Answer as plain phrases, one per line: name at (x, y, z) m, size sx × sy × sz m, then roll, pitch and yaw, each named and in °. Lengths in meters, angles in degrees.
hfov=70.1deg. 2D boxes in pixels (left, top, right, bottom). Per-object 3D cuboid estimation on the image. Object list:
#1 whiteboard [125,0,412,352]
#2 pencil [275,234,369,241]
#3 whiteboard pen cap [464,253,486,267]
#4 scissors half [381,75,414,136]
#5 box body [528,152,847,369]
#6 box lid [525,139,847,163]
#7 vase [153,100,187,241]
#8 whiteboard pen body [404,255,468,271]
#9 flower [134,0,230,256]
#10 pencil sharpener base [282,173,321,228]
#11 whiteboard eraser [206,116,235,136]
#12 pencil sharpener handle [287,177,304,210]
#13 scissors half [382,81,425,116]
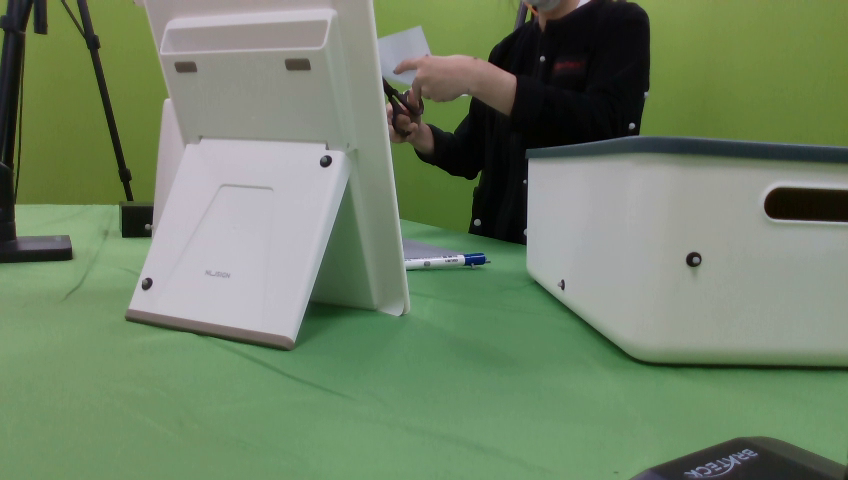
whiteboard at (-0.151, -0.049, 0.472) m, size 0.216 × 0.305 × 0.144 m, roll 6°, pitch 27°, yaw 24°
pencil at (-0.169, -0.006, 1.036) m, size 0.195 × 0.012 × 0.012 m, roll -2°, pitch 9°, yaw -45°
whiteboard pen cap at (0.066, 0.027, 0.818) m, size 0.033 × 0.018 × 0.018 m, roll -5°, pitch 10°, yaw -24°
scissors half at (-0.062, -0.249, 1.066) m, size 0.012 × 0.040 × 0.176 m, roll 20°, pitch -27°, yaw 39°
box body at (0.257, -0.005, 0.591) m, size 0.254 × 0.160 × 0.363 m, roll 2°, pitch 7°, yaw -4°
box lid at (0.261, -0.078, 0.580) m, size 0.264 × 0.015 × 0.371 m, roll 2°, pitch 7°, yaw -4°
vase at (-0.278, -0.066, 0.736) m, size 0.098 × 0.200 × 0.098 m, roll 2°, pitch 9°, yaw 0°
whiteboard pen body at (0.013, 0.030, 0.792) m, size 0.141 × 0.017 × 0.017 m, roll -3°, pitch 9°, yaw -24°
flower at (-0.282, -0.147, 0.713) m, size 0.038 × 0.362 × 0.044 m, roll -23°, pitch 24°, yaw -31°
pencil sharpener base at (-0.247, -0.080, 1.212) m, size 0.061 × 0.107 × 0.076 m, roll -2°, pitch 5°, yaw -28°
whiteboard eraser at (-0.450, -0.252, 1.335) m, size 0.056 × 0.042 × 0.112 m, roll 1°, pitch 7°, yaw -22°
pencil sharpener handle at (-0.269, -0.096, 1.257) m, size 0.036 × 0.067 × 0.030 m, roll -8°, pitch 8°, yaw -27°
scissors half at (-0.052, -0.268, 1.071) m, size 0.013 × 0.040 × 0.176 m, roll 14°, pitch -4°, yaw 38°
